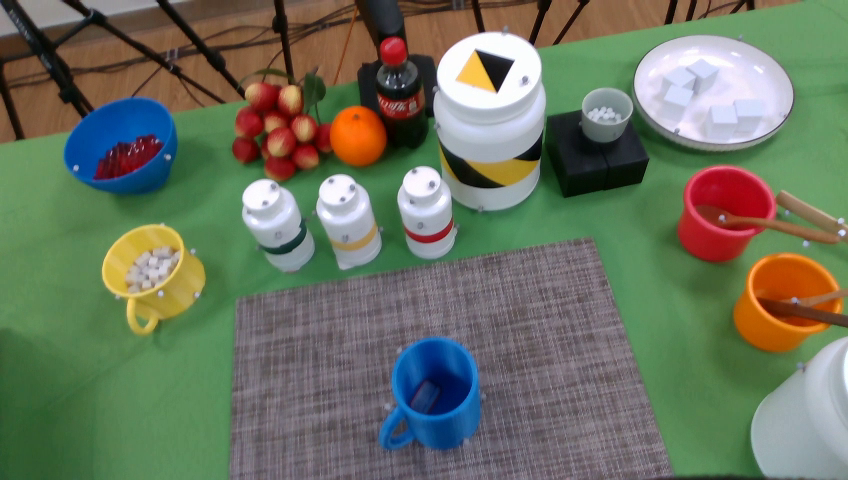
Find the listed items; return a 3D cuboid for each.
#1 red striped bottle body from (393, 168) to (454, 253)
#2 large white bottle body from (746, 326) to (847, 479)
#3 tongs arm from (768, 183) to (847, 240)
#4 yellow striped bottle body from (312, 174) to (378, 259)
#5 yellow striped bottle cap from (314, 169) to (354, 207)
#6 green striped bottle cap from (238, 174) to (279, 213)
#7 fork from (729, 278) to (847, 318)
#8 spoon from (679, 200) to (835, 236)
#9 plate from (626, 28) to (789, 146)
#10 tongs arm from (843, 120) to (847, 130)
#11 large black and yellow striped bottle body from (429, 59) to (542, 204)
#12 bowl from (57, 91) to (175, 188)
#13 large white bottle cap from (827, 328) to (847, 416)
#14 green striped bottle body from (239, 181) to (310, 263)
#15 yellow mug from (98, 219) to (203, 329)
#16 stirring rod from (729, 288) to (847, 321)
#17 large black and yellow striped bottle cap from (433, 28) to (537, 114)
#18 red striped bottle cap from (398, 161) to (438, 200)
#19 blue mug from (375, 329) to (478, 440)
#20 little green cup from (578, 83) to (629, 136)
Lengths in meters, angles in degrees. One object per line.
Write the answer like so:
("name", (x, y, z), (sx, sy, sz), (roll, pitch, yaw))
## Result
("red striped bottle body", (0.000, -0.040, 0.724), (0.063, 0.121, 0.062), (-4, 58, 7))
("large white bottle body", (0.379, 0.153, 0.528), (0.130, 0.186, 0.129), (-3, 58, 5))
("tongs arm", (0.575, 0.031, 0.669), (0.381, 0.027, 0.050), (38, 66, 24))
("yellow striped bottle body", (-0.096, -0.033, 0.730), (0.063, 0.121, 0.062), (-3, 58, 5))
("yellow striped bottle cap", (-0.102, -0.059, 0.685), (0.044, 0.019, 0.044), (-1, 55, 1))
("green striped bottle cap", (-0.189, -0.054, 0.691), (0.044, 0.020, 0.044), (-2, 58, 3))
("fork", (0.414, 0.048, 0.609), (0.207, 0.019, 0.028), (-25, 42, 45))
("spoon", (0.355, -0.025, 0.663), (0.041, 0.192, 0.022), (-26, 104, -13))
("plate", (0.383, -0.207, 0.833), (0.209, 0.038, 0.207), (-2, 59, 5))
("tongs arm", (0.646, -0.019, 0.696), (0.028, 0.028, 0.383), (-24, 59, -17))
("large black and yellow striped bottle body", (0.075, -0.144, 0.742), (0.131, 0.185, 0.129), (-3, 59, 5))
("bowl", (-0.412, -0.125, 0.844), (0.151, 0.077, 0.150), (-2, 59, 4))
("large white bottle cap", (0.370, 0.108, 0.456), (0.115, 0.018, 0.114), (-3, 58, 5))
("green striped bottle body", (-0.182, -0.026, 0.736), (0.063, 0.120, 0.062), (-2, 58, 4))
("yellow mug", (-0.336, 0.045, 0.740), (0.100, 0.064, 0.129), (-1, 59, 5))
("stirring rod", (0.386, 0.067, 0.607), (0.014, 0.006, 0.175), (-33, 19, -19))
("large black and yellow striped bottle cap", (0.067, -0.188, 0.668), (0.115, 0.019, 0.114), (-4, 60, 7))
("red striped bottle cap", (-0.007, -0.068, 0.680), (0.044, 0.018, 0.044), (-1, 57, 2))
("blue mug", (0.000, 0.158, 0.609), (0.116, 0.107, 0.081), (-38, 61, -15))
("little green cup", (0.223, -0.162, 0.762), (0.061, 0.039, 0.061), (-2, 56, 3))
